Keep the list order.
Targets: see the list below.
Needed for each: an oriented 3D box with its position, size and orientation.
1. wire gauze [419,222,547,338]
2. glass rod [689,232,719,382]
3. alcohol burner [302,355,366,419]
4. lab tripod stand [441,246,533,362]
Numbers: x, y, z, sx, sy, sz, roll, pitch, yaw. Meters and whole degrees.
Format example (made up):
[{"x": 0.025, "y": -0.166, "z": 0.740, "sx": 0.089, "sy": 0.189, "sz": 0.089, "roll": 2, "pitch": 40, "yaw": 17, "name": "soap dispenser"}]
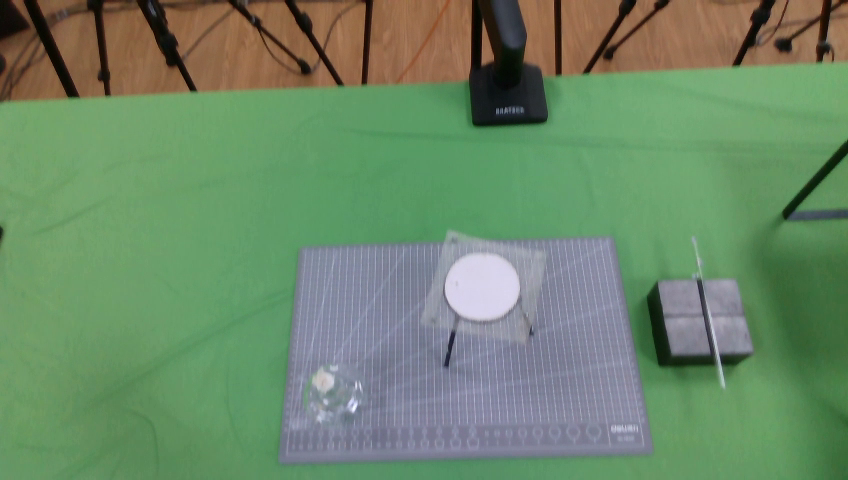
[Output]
[{"x": 0.068, "y": 0.043, "z": 0.686, "sx": 0.121, "sy": 0.011, "sz": 0.124, "roll": 13, "pitch": 64, "yaw": 9, "name": "wire gauze"}, {"x": 0.348, "y": 0.079, "z": 0.754, "sx": 0.008, "sy": 0.008, "sz": 0.198, "roll": 1, "pitch": 64, "yaw": 3, "name": "glass rod"}, {"x": -0.109, "y": 0.170, "z": 0.715, "sx": 0.078, "sy": 0.120, "sz": 0.077, "roll": -1, "pitch": 65, "yaw": 2, "name": "alcohol burner"}, {"x": 0.065, "y": 0.073, "z": 0.747, "sx": 0.148, "sy": 0.132, "sz": 0.147, "roll": -2, "pitch": 63, "yaw": 4, "name": "lab tripod stand"}]
